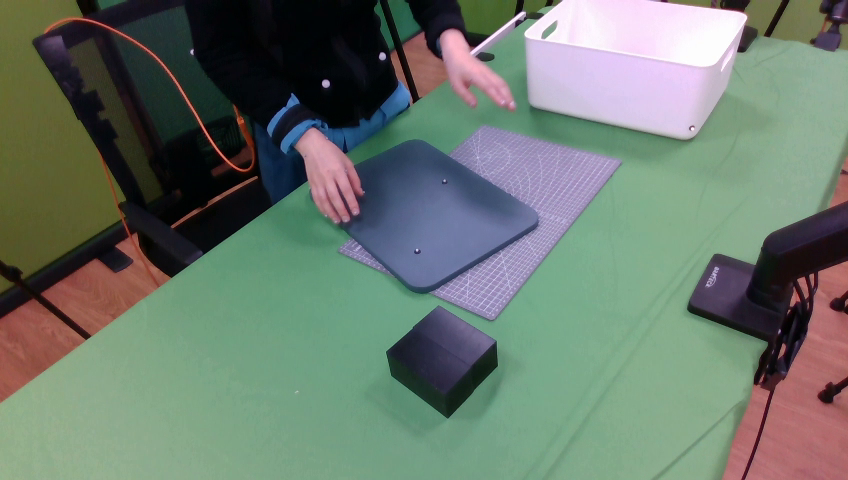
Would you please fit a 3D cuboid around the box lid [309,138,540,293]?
[{"bbox_3d":[-0.010,-0.060,1.045,0.264,0.015,0.368,-30,45,-24],"label":"box lid"}]

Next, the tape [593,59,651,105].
[{"bbox_3d":[0.409,-0.330,1.259,0.117,0.053,0.116,-5,40,4],"label":"tape"}]

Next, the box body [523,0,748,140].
[{"bbox_3d":[0.412,-0.354,1.212,0.361,0.161,0.254,20,48,29],"label":"box body"}]
